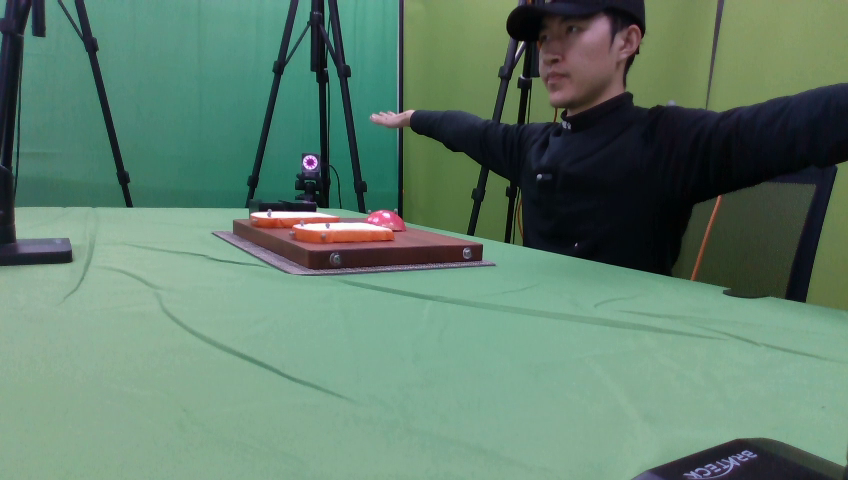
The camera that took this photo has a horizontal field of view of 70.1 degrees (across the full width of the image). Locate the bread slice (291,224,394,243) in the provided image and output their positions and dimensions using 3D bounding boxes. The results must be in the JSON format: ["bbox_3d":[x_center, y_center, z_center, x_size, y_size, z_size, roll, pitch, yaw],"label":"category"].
[{"bbox_3d":[-0.122,-0.011,0.869,0.132,0.019,0.104,-1,7,-32],"label":"bread slice"}]

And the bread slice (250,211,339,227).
[{"bbox_3d":[-0.223,-0.035,1.021,0.135,0.018,0.106,-3,9,-33],"label":"bread slice"}]

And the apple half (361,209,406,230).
[{"bbox_3d":[-0.065,-0.034,1.011,0.081,0.033,0.081,2,5,0],"label":"apple half"}]
